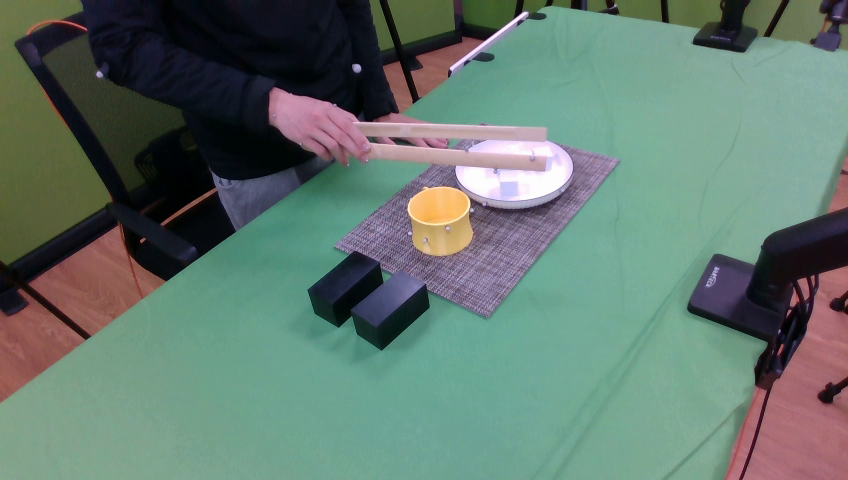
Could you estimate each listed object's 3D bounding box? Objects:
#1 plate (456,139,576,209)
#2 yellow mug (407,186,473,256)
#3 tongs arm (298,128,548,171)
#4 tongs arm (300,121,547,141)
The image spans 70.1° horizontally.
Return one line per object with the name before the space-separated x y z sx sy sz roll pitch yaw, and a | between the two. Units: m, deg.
plate | 0.161 -0.116 1.064 0.207 0.039 0.206 -4 40 4
yellow mug | 0.021 -0.041 0.973 0.100 0.064 0.129 -19 41 -13
tongs arm | -0.010 -0.138 0.910 0.384 0.026 0.050 5 37 8
tongs arm | -0.001 -0.170 0.956 0.387 0.028 0.028 1 40 3
